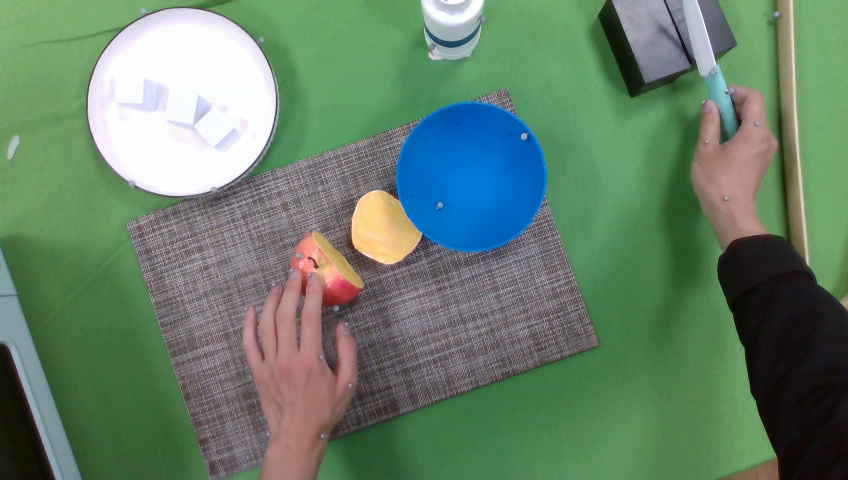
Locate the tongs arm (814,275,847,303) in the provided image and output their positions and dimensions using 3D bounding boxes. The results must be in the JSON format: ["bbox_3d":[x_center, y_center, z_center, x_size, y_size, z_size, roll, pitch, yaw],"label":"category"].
[{"bbox_3d":[0.480,-0.119,0.648,0.051,0.026,0.384,10,90,3],"label":"tongs arm"}]

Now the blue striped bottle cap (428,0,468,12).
[{"bbox_3d":[0.023,-0.239,0.567,0.044,0.020,0.044,0,87,0],"label":"blue striped bottle cap"}]

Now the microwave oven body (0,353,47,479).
[{"bbox_3d":[-0.551,0.236,0.544,0.326,0.260,0.441,-21,88,0],"label":"microwave oven body"}]

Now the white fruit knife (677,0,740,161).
[{"bbox_3d":[0.286,-0.171,0.615,0.016,0.027,0.209,-38,114,-20],"label":"white fruit knife"}]

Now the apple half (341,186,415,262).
[{"bbox_3d":[-0.051,-0.017,0.650,0.081,0.032,0.081,-1,98,-4],"label":"apple half"}]

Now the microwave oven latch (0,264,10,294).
[{"bbox_3d":[-0.473,0.022,0.645,0.030,0.029,0.079,-21,88,0],"label":"microwave oven latch"}]

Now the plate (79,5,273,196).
[{"bbox_3d":[-0.266,-0.148,0.664,0.208,0.039,0.207,0,88,1],"label":"plate"}]

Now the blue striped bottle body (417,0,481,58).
[{"bbox_3d":[0.025,-0.237,0.618,0.063,0.121,0.063,0,88,2],"label":"blue striped bottle body"}]

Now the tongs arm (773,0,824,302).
[{"bbox_3d":[0.399,-0.126,0.654,0.028,0.028,0.387,-3,89,-1],"label":"tongs arm"}]

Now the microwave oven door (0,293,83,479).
[{"bbox_3d":[-0.400,0.223,0.536,0.039,0.244,0.355,-22,88,1],"label":"microwave oven door"}]

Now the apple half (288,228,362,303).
[{"bbox_3d":[-0.109,0.034,0.632,0.053,0.075,0.080,-43,81,5],"label":"apple half"}]

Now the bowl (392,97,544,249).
[{"bbox_3d":[0.044,-0.064,0.630,0.151,0.077,0.151,0,89,2],"label":"bowl"}]
